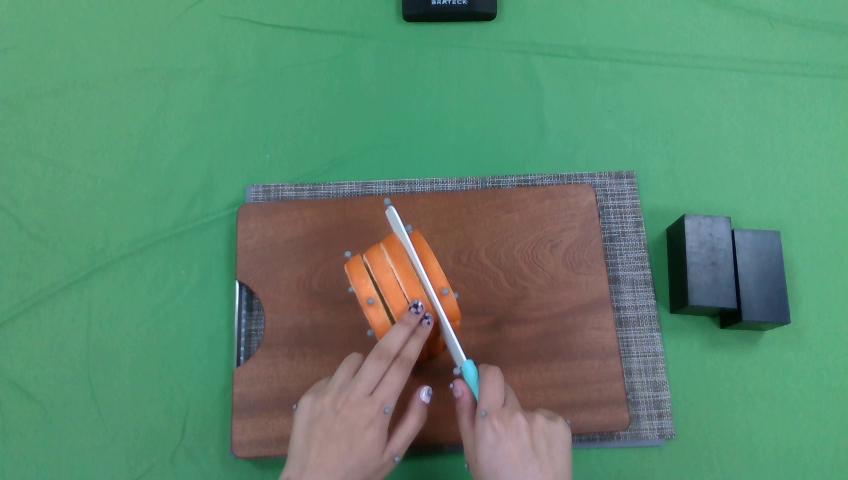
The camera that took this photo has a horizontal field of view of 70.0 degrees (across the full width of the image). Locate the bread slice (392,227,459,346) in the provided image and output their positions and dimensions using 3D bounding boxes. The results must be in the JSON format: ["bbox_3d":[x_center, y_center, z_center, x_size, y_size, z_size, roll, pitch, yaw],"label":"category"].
[{"bbox_3d":[0.000,0.047,0.582,0.018,0.135,0.106,-25,79,-13],"label":"bread slice"}]

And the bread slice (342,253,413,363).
[{"bbox_3d":[-0.045,0.064,0.578,0.019,0.132,0.104,-27,74,-3],"label":"bread slice"}]

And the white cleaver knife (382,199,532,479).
[{"bbox_3d":[0.028,0.092,0.529,0.021,0.066,0.285,-24,85,-6],"label":"white cleaver knife"}]
